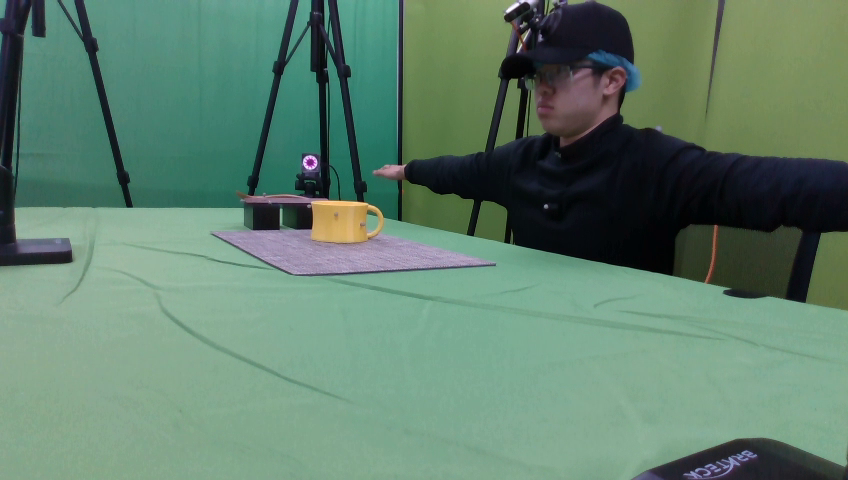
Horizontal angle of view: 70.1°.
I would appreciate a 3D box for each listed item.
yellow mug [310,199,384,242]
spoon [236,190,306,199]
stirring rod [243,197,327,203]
[{"bbox_3d":[-0.132,-0.035,1.054,0.131,0.064,0.099,0,8,-23],"label":"yellow mug"},{"bbox_3d":[-0.290,-0.088,1.248,0.195,0.021,0.041,0,6,-32],"label":"spoon"},{"bbox_3d":[-0.271,-0.079,1.201,0.177,0.006,0.014,-2,46,-36],"label":"stirring rod"}]
